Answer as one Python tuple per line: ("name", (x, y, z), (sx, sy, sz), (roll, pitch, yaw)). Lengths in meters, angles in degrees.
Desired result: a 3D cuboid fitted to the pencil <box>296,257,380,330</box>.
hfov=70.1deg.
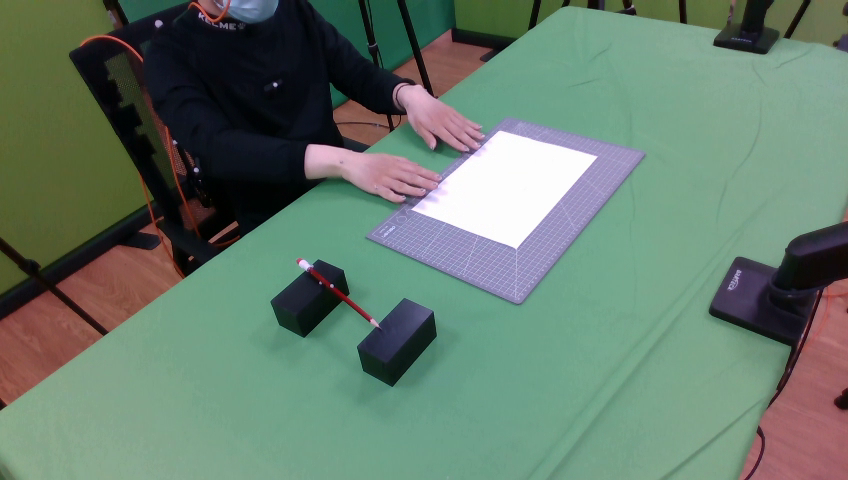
("pencil", (-0.122, 0.072, 0.838), (0.012, 0.012, 0.192), (-33, 49, -28))
